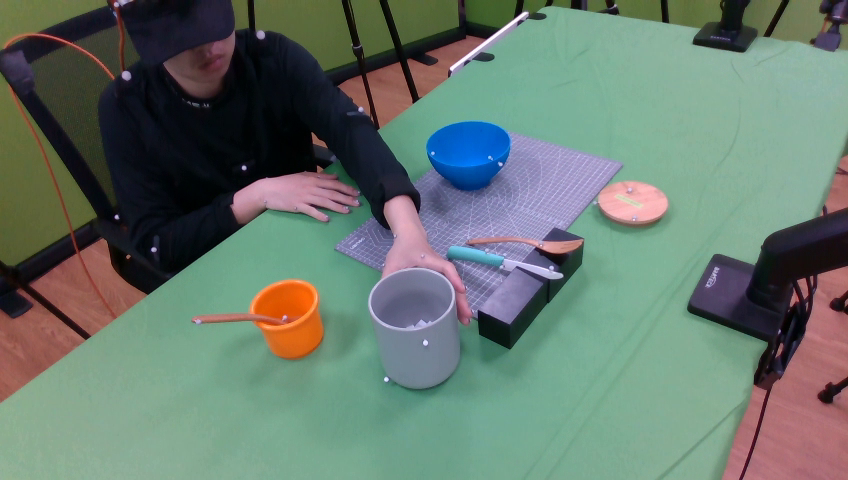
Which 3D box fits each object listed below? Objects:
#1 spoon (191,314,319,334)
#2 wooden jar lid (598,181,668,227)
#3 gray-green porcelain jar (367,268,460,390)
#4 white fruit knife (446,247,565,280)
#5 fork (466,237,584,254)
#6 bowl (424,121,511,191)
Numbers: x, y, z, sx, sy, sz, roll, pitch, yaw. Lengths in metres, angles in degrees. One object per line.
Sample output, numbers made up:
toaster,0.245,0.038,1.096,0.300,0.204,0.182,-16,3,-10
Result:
spoon,-0.212,0.105,0.780,0.041,0.195,0.021,30,97,37
wooden jar lid,0.340,-0.058,0.988,0.108,0.021,0.108,-5,41,5
gray-green porcelain jar,-0.010,0.116,0.754,0.106,0.127,0.105,-4,41,4
white fruit knife,0.111,0.033,0.868,0.205,0.027,0.016,11,42,40
fork,0.142,0.005,0.894,0.205,0.019,0.028,4,43,41
bowl,0.080,-0.140,1.074,0.151,0.077,0.150,-4,40,4
